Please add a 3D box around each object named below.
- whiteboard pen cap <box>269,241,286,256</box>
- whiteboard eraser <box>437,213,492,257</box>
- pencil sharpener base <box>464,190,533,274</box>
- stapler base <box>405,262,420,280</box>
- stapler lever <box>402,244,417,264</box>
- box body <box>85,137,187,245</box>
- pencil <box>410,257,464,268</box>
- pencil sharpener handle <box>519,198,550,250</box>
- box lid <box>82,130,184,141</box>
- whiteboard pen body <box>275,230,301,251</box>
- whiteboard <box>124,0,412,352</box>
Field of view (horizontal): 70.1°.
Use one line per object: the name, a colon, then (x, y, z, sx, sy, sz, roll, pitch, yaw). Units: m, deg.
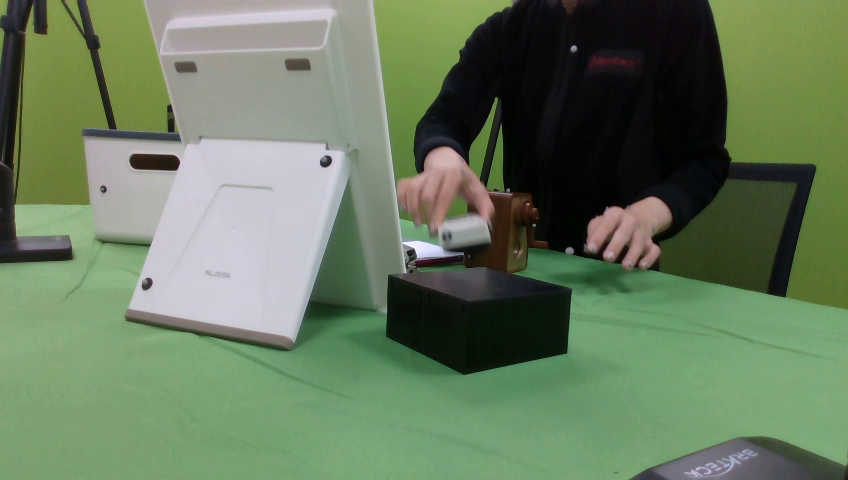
whiteboard pen cap: (-0.202, 0.012, 0.836, 0.018, 0.018, 0.033, 2, 9, -1)
whiteboard eraser: (0.043, -0.006, 0.677, 0.055, 0.042, 0.112, -6, 6, 1)
pencil sharpener base: (0.103, -0.012, 0.812, 0.076, 0.107, 0.061, 8, 9, 36)
stapler base: (-0.069, 0.027, 0.759, 0.130, 0.024, 0.041, 10, 13, 23)
stapler lever: (-0.066, 0.003, 0.754, 0.117, 0.040, 0.027, 9, 13, 23)
box body: (-0.340, -0.088, 1.022, 0.254, 0.160, 0.364, 4, 7, 11)
pencil: (0.042, 0.028, 0.847, 0.012, 0.012, 0.195, 9, 10, 42)
pencil sharpener handle: (0.147, -0.020, 0.785, 0.030, 0.068, 0.036, 8, 27, 36)
box lid: (-0.337, -0.161, 1.011, 0.263, 0.015, 0.372, 4, 7, 11)
whiteboard pen body: (-0.203, 0.002, 0.894, 0.017, 0.017, 0.140, 2, 9, -1)
whiteboard: (-0.151, -0.049, 0.471, 0.216, 0.305, 0.144, 6, 27, 24)
